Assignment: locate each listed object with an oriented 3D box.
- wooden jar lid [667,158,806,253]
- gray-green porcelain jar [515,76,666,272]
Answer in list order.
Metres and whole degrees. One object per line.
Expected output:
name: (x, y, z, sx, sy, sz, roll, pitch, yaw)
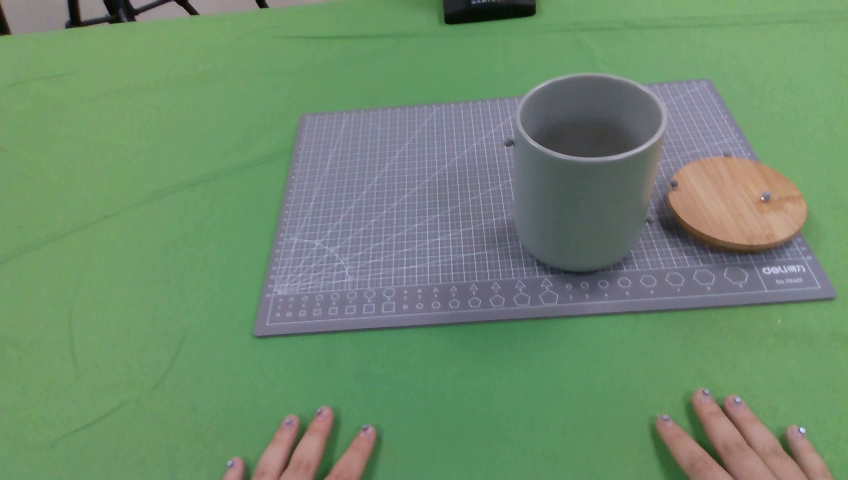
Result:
wooden jar lid: (0.262, -0.029, 0.516, 0.108, 0.021, 0.107, -4, 45, 4)
gray-green porcelain jar: (0.124, -0.046, 0.476, 0.106, 0.128, 0.105, -4, 47, 4)
